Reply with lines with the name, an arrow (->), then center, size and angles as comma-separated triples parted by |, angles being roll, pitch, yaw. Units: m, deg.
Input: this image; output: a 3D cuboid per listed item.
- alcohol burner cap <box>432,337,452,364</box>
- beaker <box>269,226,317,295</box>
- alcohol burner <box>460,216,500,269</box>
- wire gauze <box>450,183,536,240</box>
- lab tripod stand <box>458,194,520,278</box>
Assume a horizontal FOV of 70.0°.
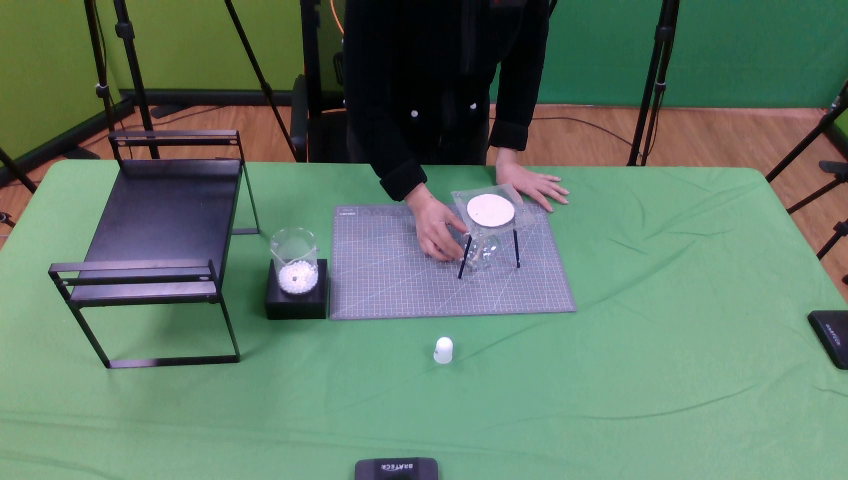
alcohol burner cap -> 0.032, 0.182, 1.011 | 0.034, 0.048, 0.033 | 4, 45, -4
beaker -> -0.218, 0.040, 1.020 | 0.074, 0.101, 0.083 | 6, 47, 2
alcohol burner -> 0.108, -0.002, 1.140 | 0.078, 0.119, 0.077 | 3, 48, -3
wire gauze -> 0.122, -0.057, 1.087 | 0.121, 0.011, 0.124 | -12, 47, -14
lab tripod stand -> 0.115, -0.011, 1.135 | 0.148, 0.132, 0.147 | 1, 45, -1
